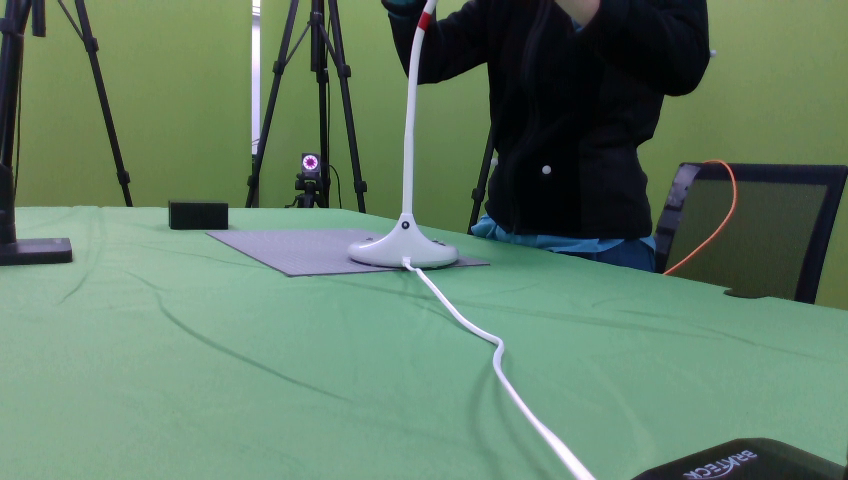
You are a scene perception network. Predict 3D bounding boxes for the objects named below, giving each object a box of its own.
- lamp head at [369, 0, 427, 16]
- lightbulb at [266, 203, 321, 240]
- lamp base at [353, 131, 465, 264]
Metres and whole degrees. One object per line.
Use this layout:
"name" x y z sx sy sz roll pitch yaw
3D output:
"lamp head" -0.021 -0.377 0.818 0.113 0.112 0.122 -1 -2 -26
"lightbulb" -0.224 -0.026 1.031 0.059 0.059 0.108 8 24 38
"lamp base" -0.015 -0.062 0.850 0.161 0.180 0.178 -1 11 -20
